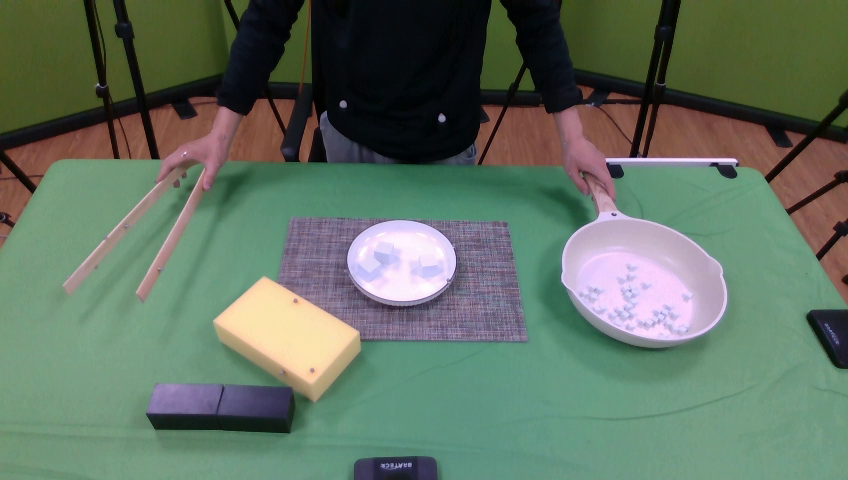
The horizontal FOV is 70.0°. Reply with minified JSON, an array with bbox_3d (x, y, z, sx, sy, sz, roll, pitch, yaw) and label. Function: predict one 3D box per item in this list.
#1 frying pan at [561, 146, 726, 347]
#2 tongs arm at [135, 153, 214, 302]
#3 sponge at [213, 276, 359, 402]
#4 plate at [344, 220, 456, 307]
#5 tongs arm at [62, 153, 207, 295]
[{"bbox_3d":[0.378,-0.005,1.175,0.307,0.103,0.484,-4,55,-9],"label":"frying pan"},{"bbox_3d":[-0.454,-0.038,1.123,0.028,0.028,0.385,-5,43,10],"label":"tongs arm"},{"bbox_3d":[-0.225,0.158,0.998,0.206,0.061,0.118,27,52,18],"label":"sponge"},{"bbox_3d":[-0.045,0.047,1.133,0.208,0.039,0.206,3,46,-2],"label":"plate"},{"bbox_3d":[-0.529,-0.043,1.138,0.050,0.027,0.383,6,45,16],"label":"tongs arm"}]
